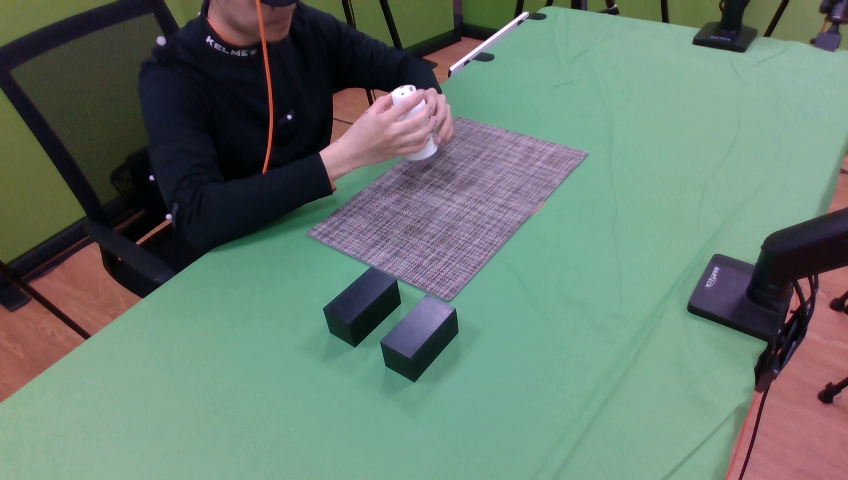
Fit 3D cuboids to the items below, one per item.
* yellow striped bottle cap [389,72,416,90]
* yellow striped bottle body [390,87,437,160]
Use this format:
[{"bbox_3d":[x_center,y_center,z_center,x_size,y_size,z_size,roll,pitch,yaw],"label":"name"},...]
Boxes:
[{"bbox_3d":[-0.035,-0.268,1.019,0.044,0.019,0.044,-13,27,7],"label":"yellow striped bottle cap"},{"bbox_3d":[-0.021,-0.207,1.060,0.063,0.121,0.062,-12,34,8],"label":"yellow striped bottle body"}]
